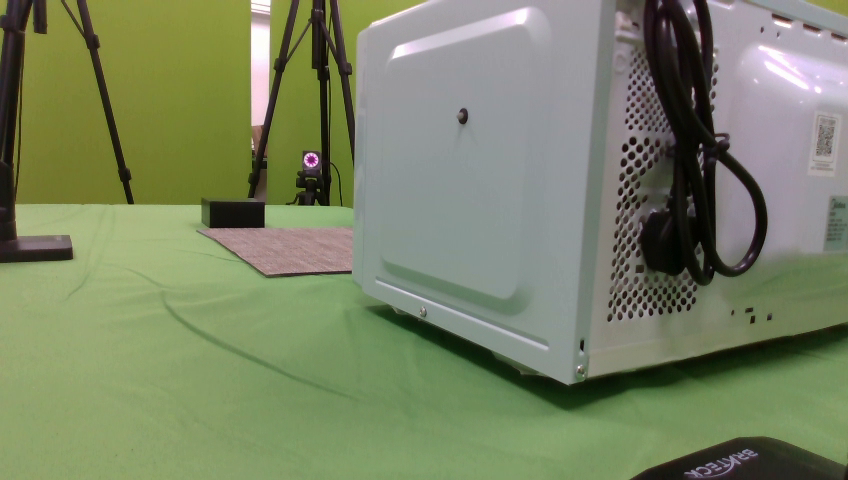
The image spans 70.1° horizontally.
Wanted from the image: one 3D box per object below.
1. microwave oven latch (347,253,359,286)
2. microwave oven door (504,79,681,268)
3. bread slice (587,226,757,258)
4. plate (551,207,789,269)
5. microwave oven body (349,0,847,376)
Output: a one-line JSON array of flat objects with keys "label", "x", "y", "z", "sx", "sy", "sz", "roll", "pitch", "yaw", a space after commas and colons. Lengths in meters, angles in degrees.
[{"label": "microwave oven latch", "x": -0.034, "y": 0.028, "z": 0.581, "sx": 0.079, "sy": 0.029, "sz": 0.030, "roll": -1, "pitch": 7, "yaw": -31}, {"label": "microwave oven door", "x": 0.235, "y": -0.105, "z": 0.926, "sx": 0.039, "sy": 0.243, "sz": 0.354, "roll": -1, "pitch": 8, "yaw": -24}, {"label": "bread slice", "x": 0.225, "y": 0.000, "z": 0.570, "sx": 0.132, "sy": 0.019, "sz": 0.104, "roll": 3, "pitch": 5, "yaw": -23}, {"label": "plate", "x": 0.224, "y": -0.004, "z": 0.572, "sx": 0.209, "sy": 0.038, "sz": 0.209, "roll": 3, "pitch": 7, "yaw": 0}, {"label": "microwave oven body", "x": 0.199, "y": -0.053, "z": 0.540, "sx": 0.444, "sy": 0.260, "sz": 0.324, "roll": -1, "pitch": 7, "yaw": -32}]
